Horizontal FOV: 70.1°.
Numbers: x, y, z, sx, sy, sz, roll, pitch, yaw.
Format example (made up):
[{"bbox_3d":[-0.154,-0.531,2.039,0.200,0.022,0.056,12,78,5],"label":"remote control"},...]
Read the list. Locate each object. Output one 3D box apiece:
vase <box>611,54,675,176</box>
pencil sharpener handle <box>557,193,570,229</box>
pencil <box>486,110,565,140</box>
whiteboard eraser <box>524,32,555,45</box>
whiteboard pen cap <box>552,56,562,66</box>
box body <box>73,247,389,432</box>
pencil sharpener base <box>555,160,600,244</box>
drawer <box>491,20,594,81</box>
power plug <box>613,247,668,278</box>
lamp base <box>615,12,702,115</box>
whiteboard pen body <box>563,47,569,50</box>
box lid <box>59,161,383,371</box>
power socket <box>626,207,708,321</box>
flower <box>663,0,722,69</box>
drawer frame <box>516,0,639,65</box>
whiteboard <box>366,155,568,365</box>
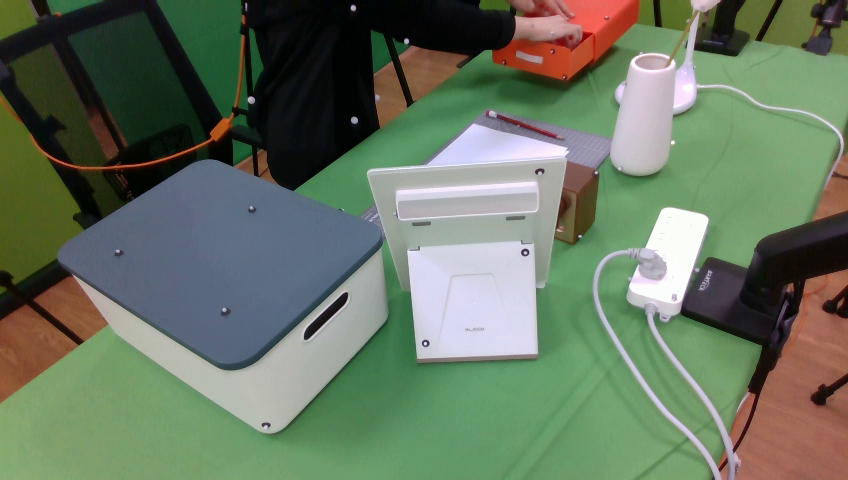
[{"bbox_3d":[0.377,-0.209,1.031,0.098,0.201,0.097,-3,40,3],"label":"vase"},{"bbox_3d":[0.195,-0.038,0.908,0.035,0.068,0.031,24,50,30],"label":"pencil sharpener handle"},{"bbox_3d":[0.204,-0.233,1.226,0.192,0.012,0.012,29,52,32],"label":"pencil"},{"bbox_3d":[0.245,-0.433,1.360,0.055,0.042,0.113,27,44,32],"label":"whiteboard eraser"},{"bbox_3d":[0.282,-0.380,1.281,0.018,0.018,0.033,10,28,19],"label":"whiteboard pen cap"},{"bbox_3d":[-0.255,0.065,0.827,0.361,0.161,0.255,21,48,29],"label":"box body"},{"bbox_3d":[0.228,-0.057,0.945,0.061,0.107,0.077,24,50,31],"label":"pencil sharpener base"},{"bbox_3d":[0.288,-0.444,1.348,0.193,0.073,0.212,24,48,32],"label":"drawer"},{"bbox_3d":[0.306,0.031,0.851,0.072,0.053,0.035,24,49,34],"label":"power plug"},{"bbox_3d":[0.484,-0.364,1.211,0.180,0.181,0.159,-15,41,-14],"label":"lamp base"},{"bbox_3d":[0.305,-0.410,1.330,0.017,0.017,0.141,7,25,16],"label":"whiteboard pen body"},{"bbox_3d":[-0.262,0.010,0.777,0.369,0.015,0.264,21,48,29],"label":"box lid"},{"bbox_3d":[0.359,0.025,0.886,0.072,0.033,0.227,16,46,26],"label":"power socket"},{"bbox_3d":[0.379,-0.261,0.965,0.044,0.362,0.038,20,53,5],"label":"flower"},{"bbox_3d":[0.354,-0.506,1.404,0.200,0.083,0.214,25,55,33],"label":"drawer frame"},{"bbox_3d":[0.059,0.049,0.738,0.217,0.307,0.143,-3,60,5],"label":"whiteboard"}]
